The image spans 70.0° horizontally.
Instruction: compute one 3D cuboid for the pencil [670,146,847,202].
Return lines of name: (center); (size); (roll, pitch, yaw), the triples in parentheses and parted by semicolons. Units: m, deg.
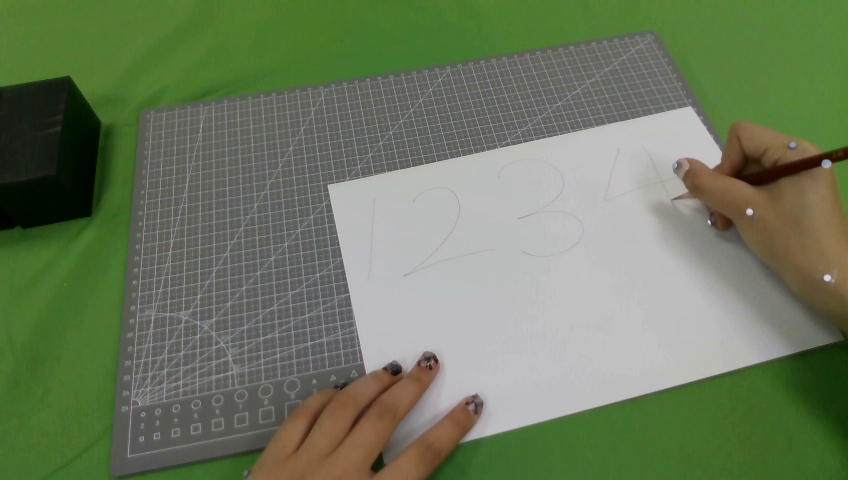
pencil: (0.225, -0.045, 0.357); (0.012, 0.193, 0.012); (6, 77, -28)
